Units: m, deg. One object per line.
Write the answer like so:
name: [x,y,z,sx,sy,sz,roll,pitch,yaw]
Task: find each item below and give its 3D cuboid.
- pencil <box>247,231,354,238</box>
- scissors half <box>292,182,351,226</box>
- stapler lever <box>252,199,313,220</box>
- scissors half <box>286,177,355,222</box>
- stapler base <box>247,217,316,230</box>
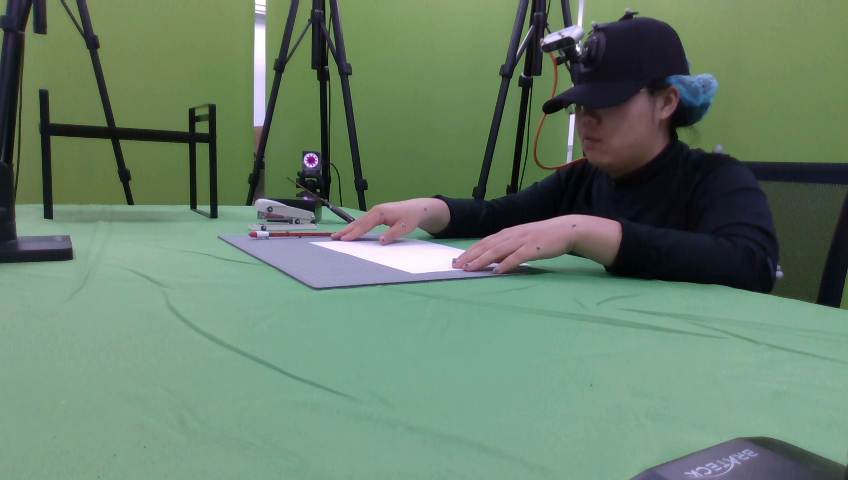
pencil: [-0.206,-0.009,1.039,0.195,0.012,0.012,0,8,-36]
scissors half: [-0.232,-0.085,1.317,0.175,0.013,0.040,38,20,4]
stapler lever: [-0.273,-0.058,1.170,0.119,0.040,0.026,0,10,-37]
scissors half: [-0.229,-0.091,1.337,0.175,0.013,0.040,33,15,-13]
stapler base: [-0.276,-0.033,1.172,0.131,0.024,0.041,0,10,-37]
